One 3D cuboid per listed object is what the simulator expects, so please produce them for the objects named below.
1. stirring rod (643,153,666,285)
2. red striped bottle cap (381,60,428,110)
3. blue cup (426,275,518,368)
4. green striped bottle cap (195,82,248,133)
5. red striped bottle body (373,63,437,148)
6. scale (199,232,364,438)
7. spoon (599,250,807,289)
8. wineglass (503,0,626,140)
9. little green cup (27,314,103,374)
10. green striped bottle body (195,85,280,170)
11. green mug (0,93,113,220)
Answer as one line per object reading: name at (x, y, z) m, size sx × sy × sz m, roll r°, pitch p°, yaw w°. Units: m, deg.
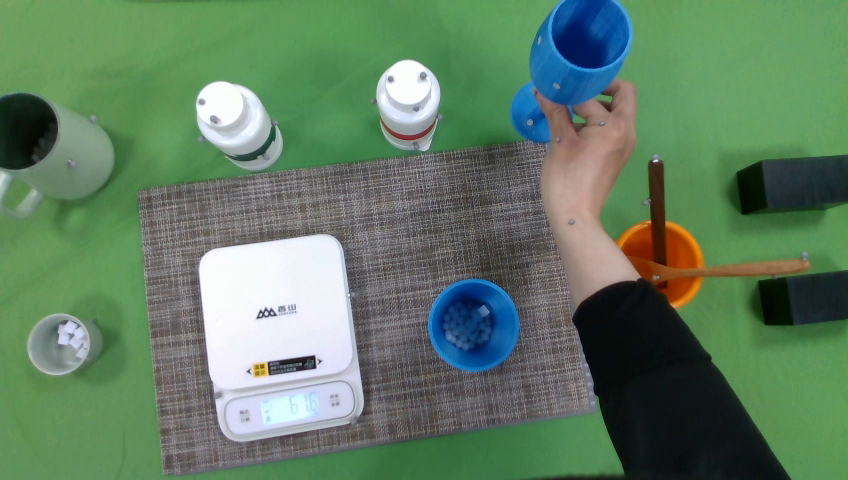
stirring rod at (0.229, -0.014, 0.600) m, size 0.014 × 0.178 × 0.006 m, roll 3°, pitch 47°, yaw 27°
red striped bottle cap at (-0.018, -0.146, 0.569) m, size 0.044 × 0.018 × 0.044 m, roll 0°, pitch 79°, yaw -1°
blue cup at (0.044, 0.080, 0.605) m, size 0.092 × 0.100 × 0.092 m, roll 0°, pitch 84°, yaw -1°
green striped bottle cap at (-0.187, -0.123, 0.558) m, size 0.044 × 0.020 × 0.044 m, roll 0°, pitch 83°, yaw 0°
red striped bottle body at (-0.020, -0.140, 0.622) m, size 0.063 × 0.120 × 0.063 m, roll 0°, pitch 83°, yaw -2°
scale at (-0.148, 0.097, 0.630) m, size 0.149 × 0.031 × 0.200 m, roll -9°, pitch 84°, yaw -3°
spoon at (0.266, 0.026, 0.599) m, size 0.022 × 0.192 × 0.041 m, roll -10°, pitch 93°, yaw -46°
wineglass at (0.114, -0.143, 0.525) m, size 0.074 × 0.172 × 0.073 m, roll 0°, pitch 83°, yaw -2°
little green cup at (-0.364, 0.106, 0.621) m, size 0.061 × 0.038 × 0.061 m, roll 0°, pitch 83°, yaw -3°
green striped bottle body at (-0.188, -0.114, 0.613) m, size 0.063 × 0.119 × 0.063 m, roll 0°, pitch 83°, yaw -2°
green mug at (-0.387, -0.077, 0.609) m, size 0.092 × 0.105 × 0.125 m, roll 27°, pitch 83°, yaw 1°
